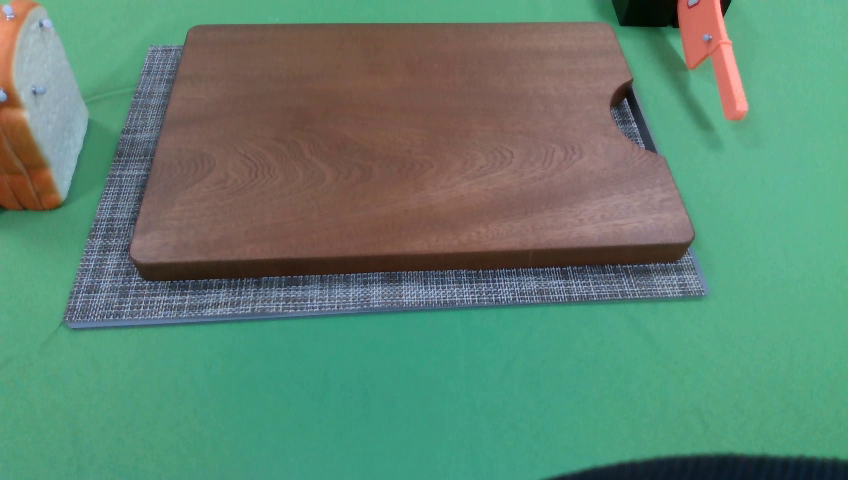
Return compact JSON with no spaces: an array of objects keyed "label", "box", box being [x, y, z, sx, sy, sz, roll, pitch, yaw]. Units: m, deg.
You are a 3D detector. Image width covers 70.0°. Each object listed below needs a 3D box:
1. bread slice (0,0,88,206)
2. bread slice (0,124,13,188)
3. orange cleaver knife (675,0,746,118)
[{"label":"bread slice","box":[-0.281,-0.104,0.445,0.019,0.132,0.104,0,54,-11]},{"label":"bread slice","box":[-0.333,-0.103,0.438,0.018,0.135,0.106,-4,49,-12]},{"label":"orange cleaver knife","box":[0.263,-0.201,0.570,0.012,0.077,0.210,0,73,-7]}]
